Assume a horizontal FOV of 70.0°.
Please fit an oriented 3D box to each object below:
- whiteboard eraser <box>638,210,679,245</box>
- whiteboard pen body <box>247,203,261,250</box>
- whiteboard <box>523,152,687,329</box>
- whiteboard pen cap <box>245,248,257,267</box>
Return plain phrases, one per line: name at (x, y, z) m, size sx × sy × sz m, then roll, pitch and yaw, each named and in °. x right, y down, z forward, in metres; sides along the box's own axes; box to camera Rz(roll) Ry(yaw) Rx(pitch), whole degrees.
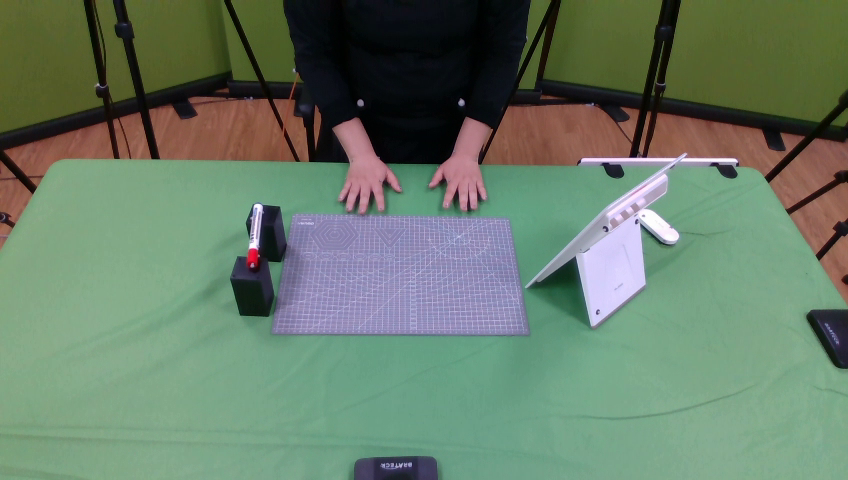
whiteboard eraser at (0.485, -0.027, 1.260) m, size 0.041 × 0.019 × 0.100 m, roll -21°, pitch 50°, yaw -21°
whiteboard pen body at (-0.295, -0.014, 1.052) m, size 0.017 × 0.017 × 0.139 m, roll -2°, pitch 45°, yaw -7°
whiteboard at (0.346, 0.025, 1.046) m, size 0.217 × 0.306 × 0.143 m, roll -30°, pitch 74°, yaw -29°
whiteboard pen cap at (-0.288, 0.028, 1.010) m, size 0.017 × 0.017 × 0.032 m, roll -2°, pitch 44°, yaw -6°
